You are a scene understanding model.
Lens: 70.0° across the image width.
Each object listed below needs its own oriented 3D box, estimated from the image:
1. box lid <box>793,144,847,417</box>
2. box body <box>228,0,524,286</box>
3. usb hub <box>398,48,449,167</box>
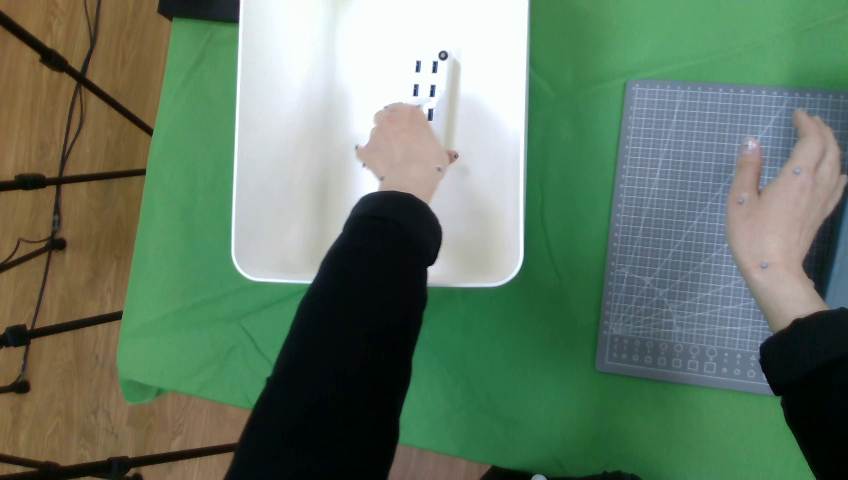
[{"bbox_3d":[0.492,0.000,0.519,0.262,0.015,0.372,8,102,12],"label":"box lid"},{"bbox_3d":[-0.030,-0.140,0.588,0.253,0.161,0.363,1,88,11],"label":"box body"},{"bbox_3d":[0.000,-0.141,0.651,0.049,0.025,0.125,3,95,11],"label":"usb hub"}]
